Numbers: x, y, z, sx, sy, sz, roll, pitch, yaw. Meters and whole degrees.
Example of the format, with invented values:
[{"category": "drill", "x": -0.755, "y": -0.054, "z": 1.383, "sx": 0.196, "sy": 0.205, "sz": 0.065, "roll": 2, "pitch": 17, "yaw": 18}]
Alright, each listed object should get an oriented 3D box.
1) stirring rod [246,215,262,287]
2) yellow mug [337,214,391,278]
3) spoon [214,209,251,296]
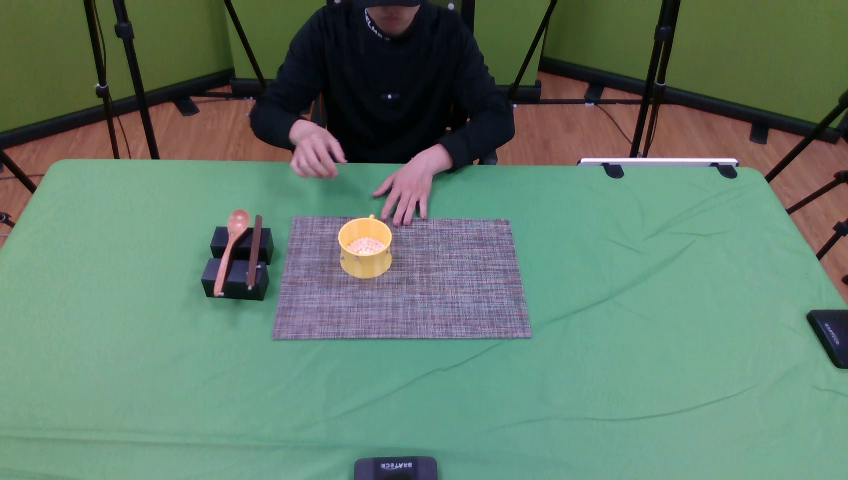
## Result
[{"category": "stirring rod", "x": -0.308, "y": 0.017, "z": 1.098, "sx": 0.014, "sy": 0.006, "sz": 0.175, "roll": 24, "pitch": 37, "yaw": -28}, {"category": "yellow mug", "x": -0.110, "y": 0.003, "z": 1.152, "sx": 0.100, "sy": 0.064, "sz": 0.130, "roll": 7, "pitch": 45, "yaw": 2}, {"category": "spoon", "x": -0.349, "y": 0.019, "z": 1.087, "sx": 0.041, "sy": 0.022, "sz": 0.192, "roll": 3, "pitch": 48, "yaw": 1}]
